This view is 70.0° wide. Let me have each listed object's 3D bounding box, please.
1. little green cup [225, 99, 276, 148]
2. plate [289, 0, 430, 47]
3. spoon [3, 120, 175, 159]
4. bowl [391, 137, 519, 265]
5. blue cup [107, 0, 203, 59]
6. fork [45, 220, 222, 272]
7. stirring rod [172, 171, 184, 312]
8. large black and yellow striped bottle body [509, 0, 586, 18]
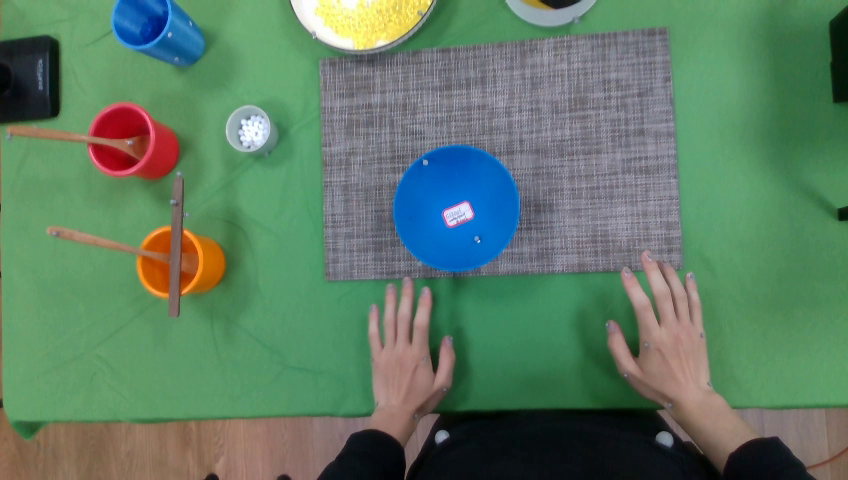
[{"bbox_3d":[-0.229,-0.152,0.808,0.061,0.039,0.061,0,88,10],"label":"little green cup"},{"bbox_3d":[-0.080,-0.353,0.795,0.209,0.038,0.209,0,88,9],"label":"plate"},{"bbox_3d":[-0.428,-0.137,0.786,0.195,0.021,0.041,5,90,-34],"label":"spoon"},{"bbox_3d":[0.041,-0.043,0.738,0.151,0.077,0.151,0,88,9],"label":"bowl"},{"bbox_3d":[-0.346,-0.285,0.800,0.092,0.100,0.092,0,88,11],"label":"blue cup"},{"bbox_3d":[-0.360,0.007,0.765,0.209,0.018,0.028,18,92,-34],"label":"fork"},{"bbox_3d":[-0.307,0.001,0.755,0.014,0.006,0.176,-1,87,10],"label":"stirring rod"},{"bbox_3d":[0.146,-0.350,0.686,0.130,0.184,0.130,0,87,9],"label":"large black and yellow striped bottle body"}]
